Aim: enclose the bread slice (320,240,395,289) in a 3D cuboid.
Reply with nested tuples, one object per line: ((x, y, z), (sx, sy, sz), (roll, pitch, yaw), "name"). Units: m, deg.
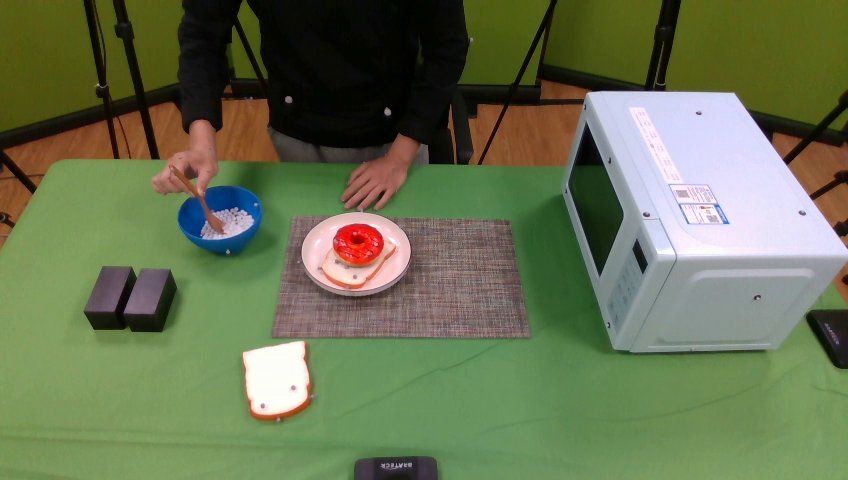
((-0.129, 0.037, 1.141), (0.107, 0.018, 0.134), (19, 47, 14), "bread slice")

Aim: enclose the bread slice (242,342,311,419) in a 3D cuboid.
((-0.234, 0.223, 0.970), (0.105, 0.019, 0.130), (-10, 46, -12), "bread slice")

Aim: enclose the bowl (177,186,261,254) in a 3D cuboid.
((-0.383, -0.026, 1.158), (0.151, 0.077, 0.150), (2, 46, -2), "bowl")

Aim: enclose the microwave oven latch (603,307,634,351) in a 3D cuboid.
((0.332, 0.153, 1.044), (0.030, 0.029, 0.078), (0, 45, -4), "microwave oven latch")

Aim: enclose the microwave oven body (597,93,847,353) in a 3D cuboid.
((0.475, -0.041, 1.109), (0.326, 0.261, 0.438), (-1, 45, -4), "microwave oven body")

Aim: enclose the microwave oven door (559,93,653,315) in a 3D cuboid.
((0.327, -0.074, 1.123), (0.039, 0.245, 0.353), (-1, 46, -5), "microwave oven door")

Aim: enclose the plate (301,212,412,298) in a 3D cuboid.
((-0.126, 0.031, 1.145), (0.208, 0.039, 0.206), (2, 46, -2), "plate")

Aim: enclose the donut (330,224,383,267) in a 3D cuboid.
((-0.125, 0.010, 1.127), (0.099, 0.048, 0.098), (3, 45, -3), "donut")

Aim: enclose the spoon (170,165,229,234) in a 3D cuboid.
((-0.402, -0.072, 1.093), (0.021, 0.195, 0.041), (-21, 53, -4), "spoon")
